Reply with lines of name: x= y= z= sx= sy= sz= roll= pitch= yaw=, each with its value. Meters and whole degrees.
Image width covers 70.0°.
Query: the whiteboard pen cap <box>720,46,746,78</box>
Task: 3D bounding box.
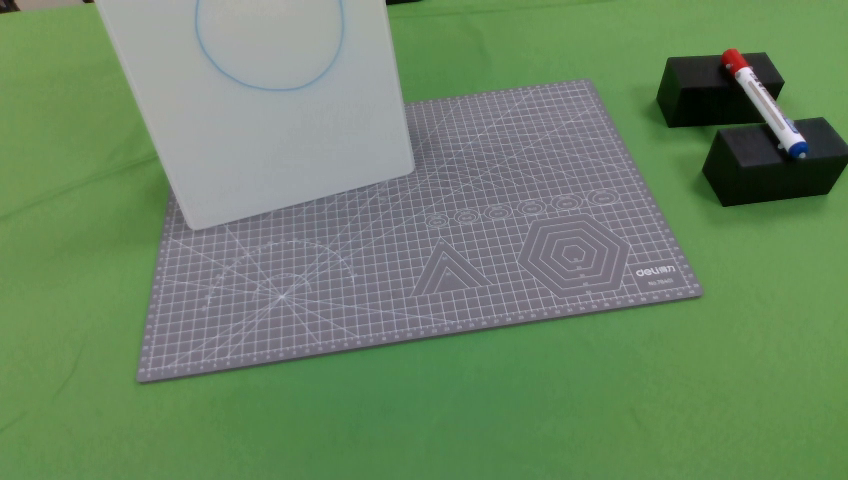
whiteboard pen cap: x=0.301 y=-0.172 z=0.587 sx=0.017 sy=0.017 sz=0.032 roll=-6 pitch=53 yaw=-1

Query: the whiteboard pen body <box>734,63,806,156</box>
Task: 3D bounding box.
whiteboard pen body: x=0.308 y=-0.128 z=0.551 sx=0.017 sy=0.017 sz=0.139 roll=-6 pitch=52 yaw=-1

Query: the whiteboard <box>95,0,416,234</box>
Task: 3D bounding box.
whiteboard: x=-0.151 y=-0.195 z=0.546 sx=0.217 sy=0.308 sz=0.142 roll=-16 pitch=32 yaw=-9
